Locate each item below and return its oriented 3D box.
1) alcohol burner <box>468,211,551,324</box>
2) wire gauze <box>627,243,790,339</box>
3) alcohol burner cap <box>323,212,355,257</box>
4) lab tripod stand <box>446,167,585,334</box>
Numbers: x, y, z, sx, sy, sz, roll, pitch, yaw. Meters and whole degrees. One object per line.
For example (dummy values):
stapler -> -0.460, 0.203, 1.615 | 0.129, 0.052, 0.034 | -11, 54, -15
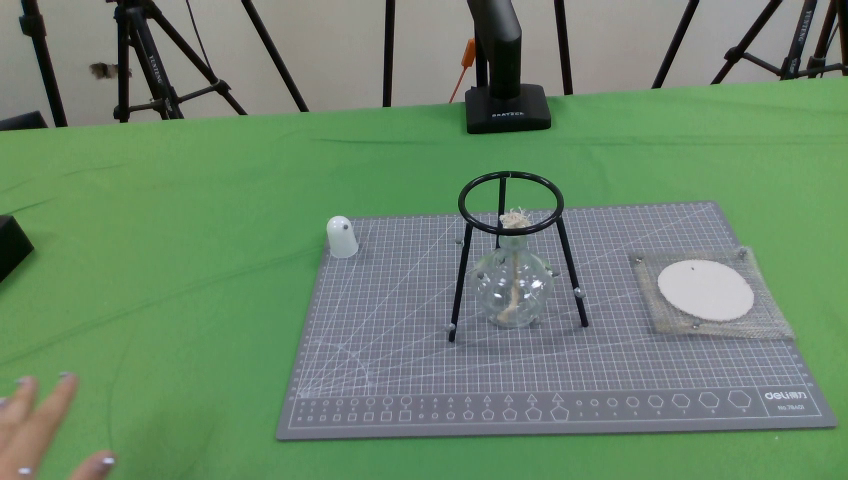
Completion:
alcohol burner -> 0.079, 0.021, 0.558 | 0.078, 0.120, 0.077 | -2, 40, 2
wire gauze -> 0.271, 0.045, 0.588 | 0.125, 0.011, 0.120 | 1, 41, 5
alcohol burner cap -> -0.095, -0.009, 0.669 | 0.034, 0.048, 0.033 | -2, 41, 2
lab tripod stand -> 0.080, 0.011, 0.553 | 0.148, 0.133, 0.147 | -2, 39, 2
